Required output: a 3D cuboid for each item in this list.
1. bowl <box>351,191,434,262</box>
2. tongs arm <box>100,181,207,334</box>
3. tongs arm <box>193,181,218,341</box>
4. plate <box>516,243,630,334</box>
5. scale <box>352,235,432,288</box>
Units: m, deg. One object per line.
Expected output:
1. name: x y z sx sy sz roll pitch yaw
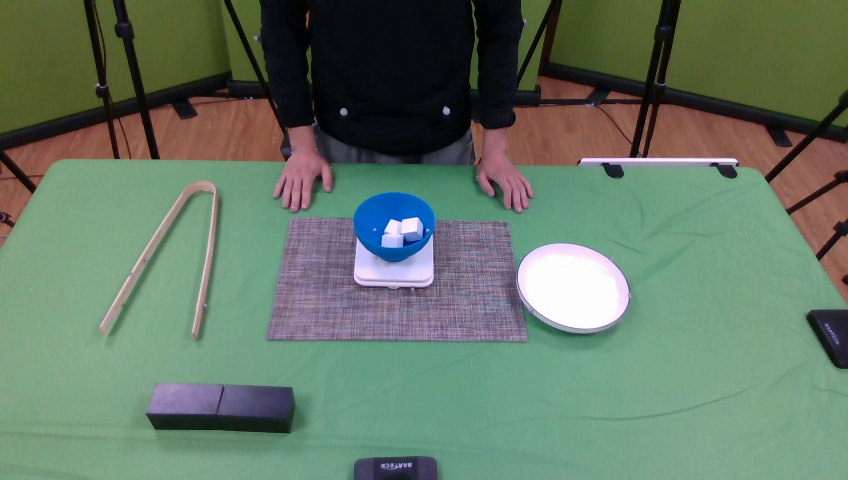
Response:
1. bowl: -0.057 -0.013 1.119 0.151 0.077 0.150 1 46 -1
2. tongs arm: -0.494 0.018 1.132 0.051 0.026 0.382 7 45 -1
3. tongs arm: -0.413 0.024 1.140 0.028 0.028 0.385 -5 47 -7
4. plate: 0.272 0.092 1.120 0.208 0.039 0.206 2 46 -2
5. scale: -0.060 0.010 1.171 0.149 0.032 0.199 2 46 -3
